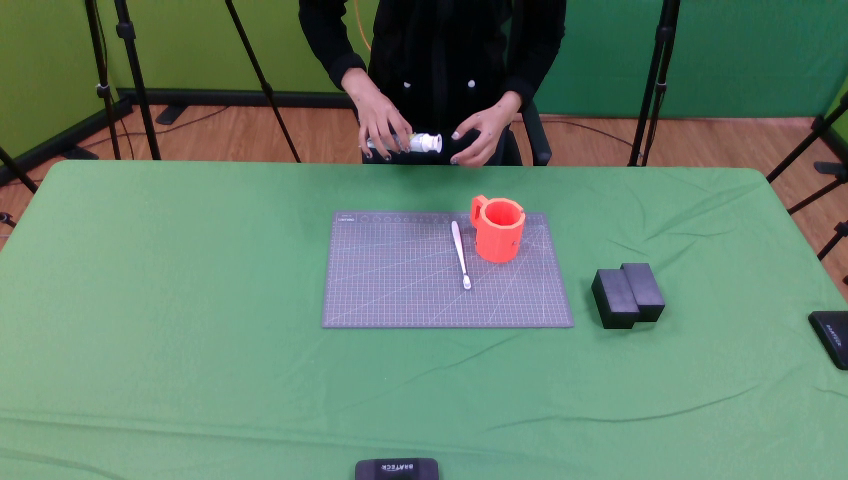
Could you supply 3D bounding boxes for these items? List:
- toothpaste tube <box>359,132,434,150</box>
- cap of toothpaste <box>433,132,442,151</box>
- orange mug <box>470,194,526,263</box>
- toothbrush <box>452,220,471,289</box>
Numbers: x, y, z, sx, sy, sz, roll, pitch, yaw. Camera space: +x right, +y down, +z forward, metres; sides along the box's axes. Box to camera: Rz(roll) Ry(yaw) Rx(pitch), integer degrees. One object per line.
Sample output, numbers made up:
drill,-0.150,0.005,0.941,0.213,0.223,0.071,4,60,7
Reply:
toothpaste tube,-0.047,-0.196,1.185,0.164,0.035,0.055,7,32,26
cap of toothpaste,0.025,-0.187,1.147,0.011,0.037,0.037,5,46,14
orange mug,0.136,-0.030,1.180,0.083,0.101,0.125,-26,58,-26
toothbrush,0.071,0.024,1.180,0.014,0.017,0.180,-13,45,5
